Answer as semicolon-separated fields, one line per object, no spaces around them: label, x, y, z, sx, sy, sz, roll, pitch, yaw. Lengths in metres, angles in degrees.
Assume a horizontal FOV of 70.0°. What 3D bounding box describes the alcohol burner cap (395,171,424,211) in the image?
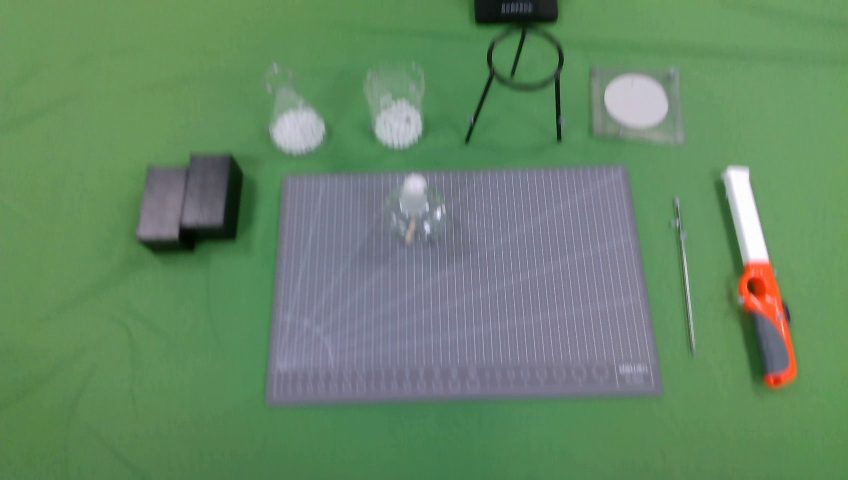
alcohol burner cap;-0.015;-0.059;0.679;0.034;0.048;0.033;3;62;-6

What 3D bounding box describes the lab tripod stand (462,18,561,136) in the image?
lab tripod stand;0.113;-0.196;0.762;0.148;0.132;0.147;0;71;1

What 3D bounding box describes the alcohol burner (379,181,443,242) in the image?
alcohol burner;-0.015;-0.043;0.712;0.078;0.120;0.077;1;68;-1

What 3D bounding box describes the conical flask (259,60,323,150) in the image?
conical flask;-0.173;-0.172;0.761;0.075;0.122;0.075;0;69;1

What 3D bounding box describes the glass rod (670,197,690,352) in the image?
glass rod;0.311;0.038;0.738;0.008;0.008;0.198;3;69;2

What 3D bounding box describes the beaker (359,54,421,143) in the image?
beaker;-0.038;-0.178;0.775;0.084;0.101;0.073;-41;74;-14

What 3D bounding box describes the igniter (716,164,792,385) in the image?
igniter;0.395;0.034;0.729;0.057;0.025;0.274;2;69;-10

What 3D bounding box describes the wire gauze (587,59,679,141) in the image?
wire gauze;0.285;-0.195;0.828;0.125;0.011;0.120;6;70;1
